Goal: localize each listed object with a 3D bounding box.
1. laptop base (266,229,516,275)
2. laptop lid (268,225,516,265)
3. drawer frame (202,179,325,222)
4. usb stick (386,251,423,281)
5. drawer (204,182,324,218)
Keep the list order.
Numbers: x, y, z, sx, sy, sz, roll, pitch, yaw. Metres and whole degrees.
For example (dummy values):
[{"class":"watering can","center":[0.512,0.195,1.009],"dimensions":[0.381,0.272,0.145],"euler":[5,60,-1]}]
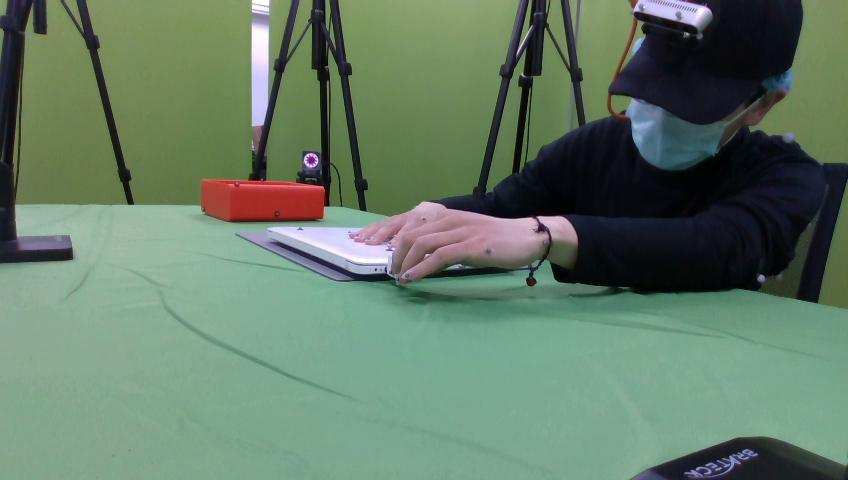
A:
[{"class":"laptop base","center":[-0.066,0.014,0.877],"dimensions":[0.237,0.023,0.352],"euler":[2,6,-32]},{"class":"laptop lid","center":[-0.063,0.003,0.877],"dimensions":[0.243,0.013,0.355],"euler":[1,7,-30]},{"class":"drawer frame","center":[-0.361,-0.092,1.356],"dimensions":[0.215,0.082,0.200],"euler":[-4,10,-37]},{"class":"usb stick","center":[-0.025,0.027,0.667],"dimensions":[0.021,0.027,0.059],"euler":[-8,9,-31]},{"class":"drawer","center":[-0.360,-0.092,1.358],"dimensions":[0.213,0.073,0.193],"euler":[-3,10,-36]}]
